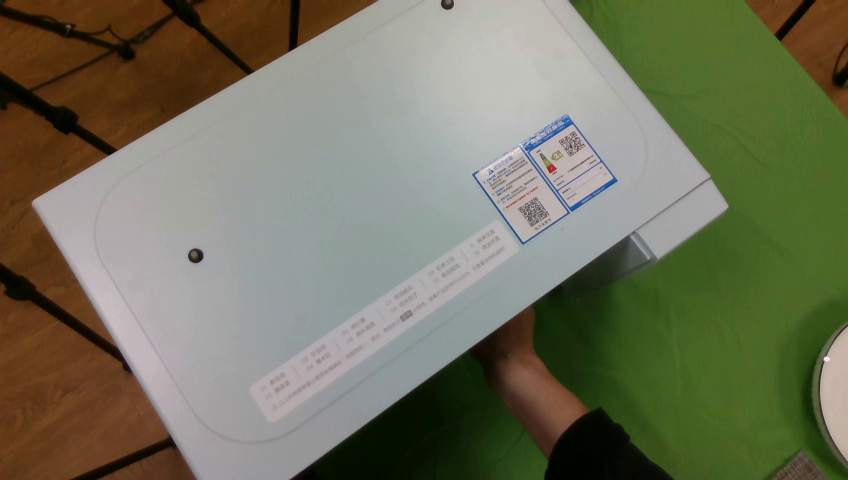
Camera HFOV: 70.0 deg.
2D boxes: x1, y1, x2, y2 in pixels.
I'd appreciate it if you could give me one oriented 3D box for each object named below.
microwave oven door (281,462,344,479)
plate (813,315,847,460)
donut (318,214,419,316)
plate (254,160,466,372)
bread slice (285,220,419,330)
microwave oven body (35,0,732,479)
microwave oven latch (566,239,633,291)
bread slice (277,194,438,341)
[{"bbox_3d":[0.023,0.297,0.503,0.355,0.244,0.039,29,77,3],"label":"microwave oven door"},{"bbox_3d":[0.536,0.173,0.684,0.208,0.039,0.206,1,78,-3],"label":"plate"},{"bbox_3d":[-0.053,0.024,0.582,0.099,0.048,0.098,3,79,-18],"label":"donut"},{"bbox_3d":[-0.063,0.026,0.609,0.209,0.038,0.208,1,81,-7],"label":"plate"},{"bbox_3d":[-0.074,0.038,0.624,0.132,0.019,0.104,-14,78,-31],"label":"bread slice"},{"bbox_3d":[-0.033,-0.017,0.573,0.442,0.261,0.325,-34,82,-9],"label":"microwave oven body"},{"bbox_3d":[0.192,0.025,0.676,0.079,0.029,0.030,-30,81,-8],"label":"microwave oven latch"},{"bbox_3d":[-0.054,0.015,0.552,0.134,0.018,0.107,-24,90,-17],"label":"bread slice"}]
